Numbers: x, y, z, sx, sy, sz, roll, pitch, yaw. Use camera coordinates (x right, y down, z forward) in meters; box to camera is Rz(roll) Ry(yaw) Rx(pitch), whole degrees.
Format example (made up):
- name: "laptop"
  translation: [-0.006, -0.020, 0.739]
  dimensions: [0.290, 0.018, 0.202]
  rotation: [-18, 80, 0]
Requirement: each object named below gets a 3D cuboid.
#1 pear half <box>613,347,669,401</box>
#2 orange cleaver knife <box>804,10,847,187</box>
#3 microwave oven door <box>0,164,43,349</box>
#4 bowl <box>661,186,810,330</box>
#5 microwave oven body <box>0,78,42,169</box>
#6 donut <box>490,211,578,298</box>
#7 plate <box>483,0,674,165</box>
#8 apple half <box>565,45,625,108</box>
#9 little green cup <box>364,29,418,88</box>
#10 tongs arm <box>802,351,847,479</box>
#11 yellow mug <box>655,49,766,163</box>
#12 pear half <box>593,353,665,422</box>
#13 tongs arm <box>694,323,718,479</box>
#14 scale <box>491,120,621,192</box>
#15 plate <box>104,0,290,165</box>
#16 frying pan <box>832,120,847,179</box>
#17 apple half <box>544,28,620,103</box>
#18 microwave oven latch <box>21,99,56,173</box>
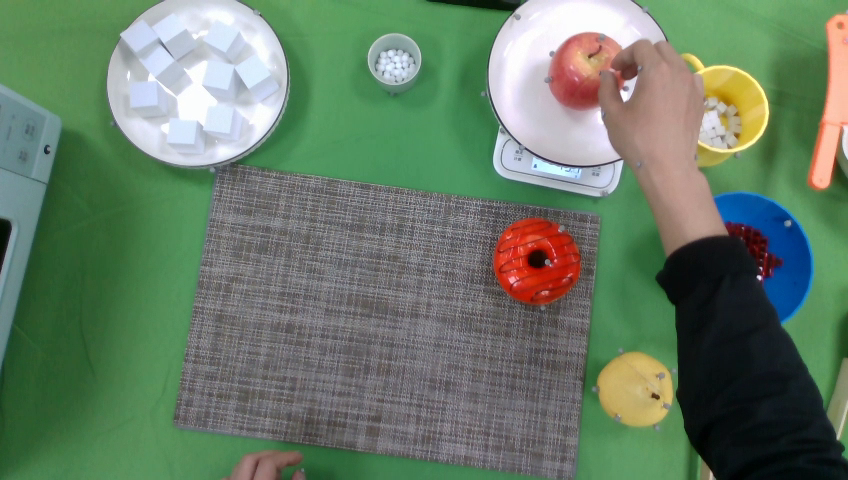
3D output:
- name: "pear half"
  translation: [0.238, 0.137, 0.647]
  dimensions: [0.070, 0.088, 0.031]
  rotation: [39, 85, 7]
- name: "orange cleaver knife"
  translation: [0.457, -0.156, 0.654]
  dimensions: [0.077, 0.012, 0.211]
  rotation: [13, 85, 4]
- name: "microwave oven door"
  translation: [-0.478, 0.086, 0.551]
  dimensions: [0.039, 0.244, 0.355]
  rotation: [10, 84, 1]
- name: "bowl"
  translation: [0.326, 0.022, 0.666]
  dimensions: [0.151, 0.077, 0.151]
  rotation: [0, 85, 0]
- name: "microwave oven body"
  translation: [-0.614, 0.018, 0.562]
  dimensions: [0.326, 0.260, 0.440]
  rotation: [10, 85, 0]
- name: "donut"
  translation: [0.122, 0.017, 0.677]
  dimensions: [0.099, 0.048, 0.099]
  rotation: [0, 84, 2]
- name: "plate"
  translation: [0.169, -0.183, 0.676]
  dimensions: [0.209, 0.038, 0.208]
  rotation: [0, 84, -1]
- name: "apple half"
  translation: [0.188, -0.165, 0.647]
  dimensions: [0.081, 0.081, 0.032]
  rotation: [-45, 83, -5]
- name: "little green cup"
  translation: [-0.037, -0.209, 0.706]
  dimensions: [0.061, 0.039, 0.061]
  rotation: [0, 84, 0]
- name: "tongs arm"
  translation: [0.403, 0.303, 0.664]
  dimensions: [0.028, 0.028, 0.387]
  rotation: [23, 85, -6]
- name: "yellow mug"
  translation: [0.316, -0.158, 0.690]
  dimensions: [0.100, 0.064, 0.130]
  rotation: [-25, 84, -2]
- name: "pear half"
  translation: [0.213, 0.162, 0.634]
  dimensions: [0.076, 0.110, 0.056]
  rotation: [40, 85, 8]
- name: "tongs arm"
  translation: [0.319, 0.283, 0.661]
  dimensions: [0.051, 0.026, 0.384]
  rotation: [8, 85, -4]
- name: "scale"
  translation: [0.167, -0.165, 0.707]
  dimensions: [0.148, 0.031, 0.200]
  rotation: [12, 85, 1]
- name: "plate"
  translation: [-0.257, -0.185, 0.702]
  dimensions: [0.208, 0.039, 0.207]
  rotation: [0, 84, -1]
- name: "frying pan"
  translation: [0.627, -0.050, 0.663]
  dimensions: [0.307, 0.103, 0.485]
  rotation: [-19, 76, -1]
- name: "apple half"
  translation: [0.161, -0.192, 0.650]
  dimensions: [0.081, 0.075, 0.053]
  rotation: [-43, 82, -2]
- name: "microwave oven latch"
  translation: [-0.436, -0.117, 0.674]
  dimensions: [0.030, 0.029, 0.079]
  rotation: [13, 85, 0]
